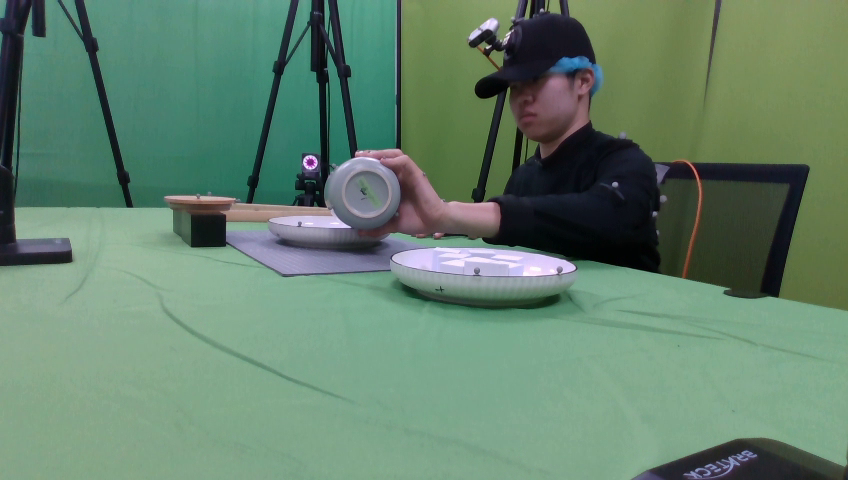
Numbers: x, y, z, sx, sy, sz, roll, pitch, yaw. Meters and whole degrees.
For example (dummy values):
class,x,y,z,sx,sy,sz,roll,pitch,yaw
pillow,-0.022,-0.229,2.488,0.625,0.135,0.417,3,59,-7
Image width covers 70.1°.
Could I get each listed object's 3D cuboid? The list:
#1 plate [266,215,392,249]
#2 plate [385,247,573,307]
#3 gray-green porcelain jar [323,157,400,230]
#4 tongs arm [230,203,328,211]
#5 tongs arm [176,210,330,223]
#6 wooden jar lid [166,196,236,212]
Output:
class,x,y,z,sx,sy,sz,roll,pitch,yaw
plate,-0.159,-0.015,1.019,0.209,0.038,0.209,3,7,0
plate,0.060,0.041,0.678,0.208,0.039,0.207,3,7,0
gray-green porcelain jar,-0.095,-0.069,0.904,0.106,0.105,0.126,1,4,-13
tongs arm,-0.362,-0.068,1.406,0.386,0.026,0.050,2,9,-14
tongs arm,-0.337,-0.053,1.329,0.389,0.028,0.028,-1,6,-27
wooden jar lid,-0.369,-0.060,1.001,0.108,0.020,0.108,3,6,0
